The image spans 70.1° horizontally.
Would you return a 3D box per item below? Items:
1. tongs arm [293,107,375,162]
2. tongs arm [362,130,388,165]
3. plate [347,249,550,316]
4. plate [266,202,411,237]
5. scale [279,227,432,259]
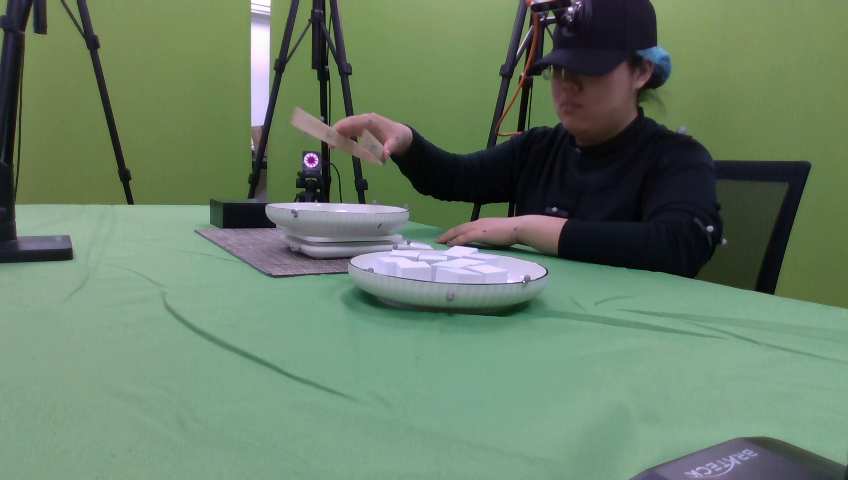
[{"bbox_3d":[-0.131,-0.163,0.979,0.051,0.026,0.385,17,3,3],"label":"tongs arm"},{"bbox_3d":[-0.080,-0.145,0.977,0.028,0.028,0.387,13,4,-1],"label":"tongs arm"},{"bbox_3d":[0.025,0.042,0.627,0.209,0.038,0.209,2,7,0],"label":"plate"},{"bbox_3d":[-0.123,-0.030,0.879,0.208,0.039,0.207,2,6,0],"label":"plate"},{"bbox_3d":[-0.100,0.001,0.899,0.202,0.031,0.148,-1,9,-31],"label":"scale"}]
